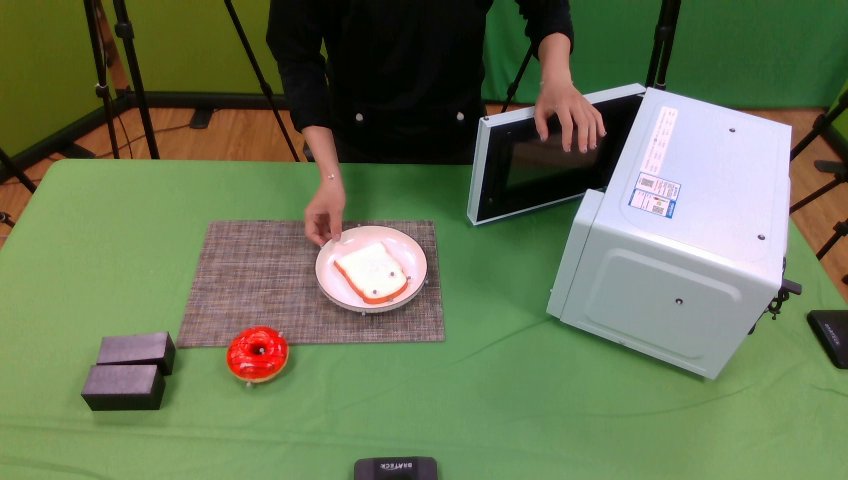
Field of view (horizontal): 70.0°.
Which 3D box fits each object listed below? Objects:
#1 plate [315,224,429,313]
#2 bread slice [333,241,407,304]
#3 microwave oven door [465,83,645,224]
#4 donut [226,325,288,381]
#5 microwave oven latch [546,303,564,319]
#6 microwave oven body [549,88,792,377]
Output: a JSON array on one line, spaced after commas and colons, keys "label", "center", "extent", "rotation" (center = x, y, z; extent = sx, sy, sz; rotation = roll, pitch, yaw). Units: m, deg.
[{"label": "plate", "center": [-0.096, 0.055, 1.121], "extent": [0.208, 0.039, 0.206], "rotation": [2, 46, -2]}, {"label": "bread slice", "center": [-0.092, 0.060, 1.117], "extent": [0.105, 0.019, 0.130], "rotation": [-24, 52, -24]}, {"label": "microwave oven door", "center": [0.259, -0.171, 1.205], "extent": [0.356, 0.245, 0.039], "rotation": [-16, 50, -18]}, {"label": "donut", "center": [-0.270, 0.182, 0.984], "extent": [0.099, 0.048, 0.098], "rotation": [5, 49, -5]}, {"label": "microwave oven latch", "center": [0.242, 0.102, 1.081], "extent": [0.030, 0.029, 0.079], "rotation": [21, 48, 17]}, {"label": "microwave oven body", "center": [0.456, -0.028, 1.088], "extent": [0.325, 0.261, 0.440], "rotation": [20, 47, 16]}]
